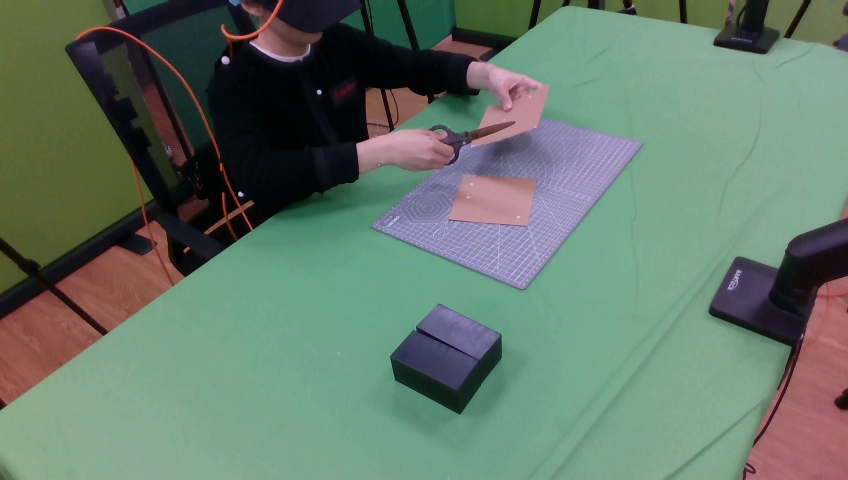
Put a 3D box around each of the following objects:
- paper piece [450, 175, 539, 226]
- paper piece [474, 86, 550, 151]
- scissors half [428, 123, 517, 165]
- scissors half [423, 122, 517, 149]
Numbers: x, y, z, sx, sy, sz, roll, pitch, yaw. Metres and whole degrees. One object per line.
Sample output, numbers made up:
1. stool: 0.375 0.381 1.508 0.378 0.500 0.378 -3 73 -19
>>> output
1. paper piece: 0.125 -0.073 1.051 0.135 0.009 0.138 3 42 18
2. paper piece: 0.163 -0.227 1.118 0.134 0.004 0.135 -14 39 36
3. scissors half: 0.084 -0.169 1.056 0.174 0.040 0.013 -21 17 30
4. scissors half: 0.078 -0.187 1.050 0.174 0.040 0.013 -4 19 24
